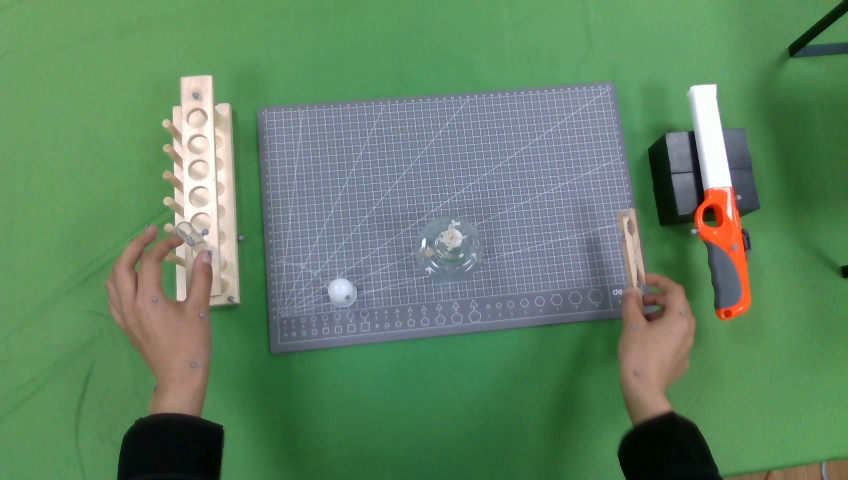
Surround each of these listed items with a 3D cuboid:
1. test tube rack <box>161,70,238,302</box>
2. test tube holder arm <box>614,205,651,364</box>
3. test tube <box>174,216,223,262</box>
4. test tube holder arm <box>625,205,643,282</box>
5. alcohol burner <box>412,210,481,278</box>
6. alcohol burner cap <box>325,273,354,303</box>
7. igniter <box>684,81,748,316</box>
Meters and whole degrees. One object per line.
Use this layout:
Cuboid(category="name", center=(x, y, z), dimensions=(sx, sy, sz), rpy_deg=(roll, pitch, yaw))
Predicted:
Cuboid(category="test tube rack", center=(-0.255, -0.057, 0.675), dimensions=(0.067, 0.085, 0.241), rpy_deg=(-5, 80, -5))
Cuboid(category="test tube holder arm", center=(0.234, 0.049, 0.680), dimensions=(0.013, 0.015, 0.178), rpy_deg=(-5, 83, -8))
Cuboid(category="test tube", center=(-0.226, 0.002, 0.615), dimensions=(0.017, 0.150, 0.017), rpy_deg=(2, 77, -7))
Cuboid(category="test tube holder arm", center=(0.235, 0.004, 0.686), dimensions=(0.010, 0.015, 0.087), rpy_deg=(-5, 83, -8))
Cuboid(category="alcohol burner", center=(0.026, 0.002, 0.665), dimensions=(0.078, 0.119, 0.077), rpy_deg=(0, 80, -2))
Cuboid(category="alcohol burner cap", center=(-0.096, 0.052, 0.684), dimensions=(0.034, 0.048, 0.033), rpy_deg=(1, 78, -3))
Cuboid(category="igniter", center=(0.333, -0.051, 0.695), dimensions=(0.057, 0.025, 0.275), rpy_deg=(-3, 79, 2))
